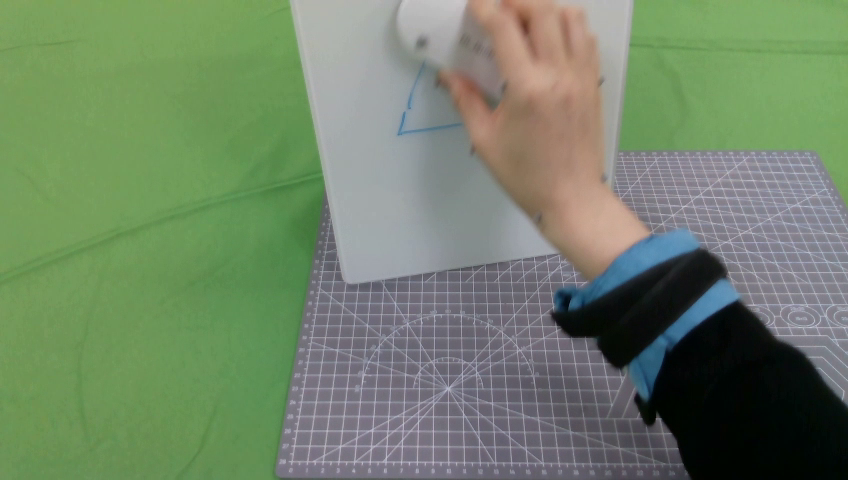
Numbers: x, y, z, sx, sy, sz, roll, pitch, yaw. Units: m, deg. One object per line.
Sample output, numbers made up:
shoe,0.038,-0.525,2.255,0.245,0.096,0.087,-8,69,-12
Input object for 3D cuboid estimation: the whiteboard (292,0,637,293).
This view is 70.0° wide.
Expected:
whiteboard,0.024,-0.139,0.456,0.217,0.308,0.142,-8,32,-4

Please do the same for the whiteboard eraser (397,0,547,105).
whiteboard eraser,0.031,-0.118,0.380,0.102,0.041,0.018,20,27,-19
